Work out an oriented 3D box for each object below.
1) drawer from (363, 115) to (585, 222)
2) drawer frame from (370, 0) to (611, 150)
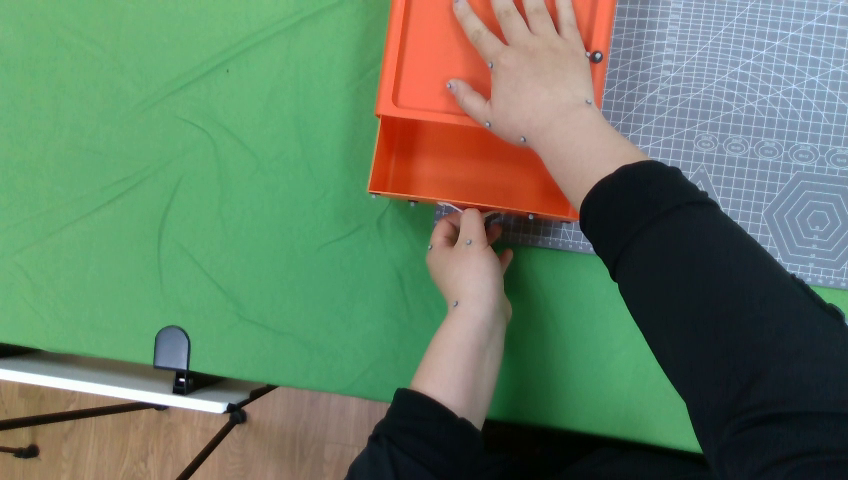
[{"bbox_3d":[0.057,-0.129,0.566,0.194,0.073,0.211,8,91,10],"label":"drawer"},{"bbox_3d":[0.066,-0.201,0.565,0.201,0.083,0.213,8,92,9],"label":"drawer frame"}]
